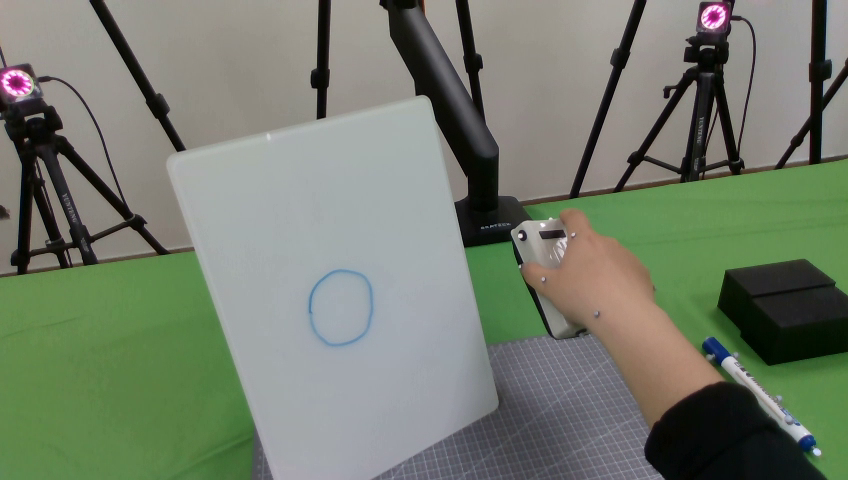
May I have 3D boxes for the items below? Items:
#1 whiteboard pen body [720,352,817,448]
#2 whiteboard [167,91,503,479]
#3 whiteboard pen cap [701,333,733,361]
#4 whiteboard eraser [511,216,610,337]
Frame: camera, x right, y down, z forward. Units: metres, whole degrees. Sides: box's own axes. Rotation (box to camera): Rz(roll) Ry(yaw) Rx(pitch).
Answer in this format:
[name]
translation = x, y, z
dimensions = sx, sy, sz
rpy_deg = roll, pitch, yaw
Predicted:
[whiteboard pen body]
translation = 0.318, 0.142, 0.580
dimensions = 0.017, 0.017, 0.139
rpy_deg = -9, 31, -10
[whiteboard]
translation = -0.082, 0.044, 0.554
dimensions = 0.218, 0.307, 0.143
rpy_deg = -20, 15, -26
[whiteboard pen cap]
translation = 0.305, 0.112, 0.628
dimensions = 0.018, 0.018, 0.033
rpy_deg = -10, 30, -10
[whiteboard eraser]
translation = 0.123, 0.033, 0.559
dimensions = 0.056, 0.042, 0.111
rpy_deg = -6, 65, -28
